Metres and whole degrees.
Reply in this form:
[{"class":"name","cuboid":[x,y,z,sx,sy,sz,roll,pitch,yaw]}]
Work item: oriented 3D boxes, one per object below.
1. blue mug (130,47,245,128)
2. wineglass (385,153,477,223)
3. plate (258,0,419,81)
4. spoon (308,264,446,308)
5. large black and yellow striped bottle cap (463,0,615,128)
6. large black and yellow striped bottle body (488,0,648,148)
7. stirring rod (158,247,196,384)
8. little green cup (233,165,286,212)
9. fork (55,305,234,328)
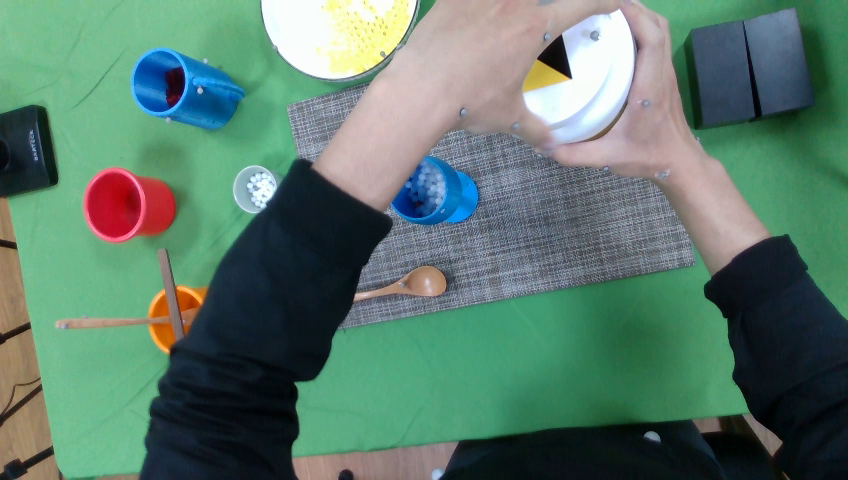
[{"class":"blue mug","cuboid":[-0.289,-0.191,0.771,0.116,0.106,0.082,2,93,14]},{"class":"wineglass","cuboid":[0.013,-0.053,0.665,0.073,0.172,0.073,1,92,14]},{"class":"plate","cuboid":[-0.105,-0.301,0.755,0.208,0.038,0.209,1,93,14]},{"class":"spoon","cuboid":[-0.064,0.064,0.767,0.193,0.021,0.042,-13,110,14]},{"class":"large black and yellow striped bottle cap","cuboid":[0.084,-0.143,0.458,0.114,0.019,0.115,3,98,26]},{"class":"large black and yellow striped bottle body","cuboid":[0.121,-0.151,0.534,0.130,0.184,0.131,3,97,26]},{"class":"stirring rod","cuboid":[-0.313,0.095,0.766,0.014,0.006,0.176,-13,90,15]},{"class":"little green cup","cuboid":[-0.213,-0.067,0.793,0.061,0.039,0.061,1,93,15]},{"class":"fork","cuboid":[-0.353,0.101,0.779,0.208,0.018,0.028,0,100,-29]}]
